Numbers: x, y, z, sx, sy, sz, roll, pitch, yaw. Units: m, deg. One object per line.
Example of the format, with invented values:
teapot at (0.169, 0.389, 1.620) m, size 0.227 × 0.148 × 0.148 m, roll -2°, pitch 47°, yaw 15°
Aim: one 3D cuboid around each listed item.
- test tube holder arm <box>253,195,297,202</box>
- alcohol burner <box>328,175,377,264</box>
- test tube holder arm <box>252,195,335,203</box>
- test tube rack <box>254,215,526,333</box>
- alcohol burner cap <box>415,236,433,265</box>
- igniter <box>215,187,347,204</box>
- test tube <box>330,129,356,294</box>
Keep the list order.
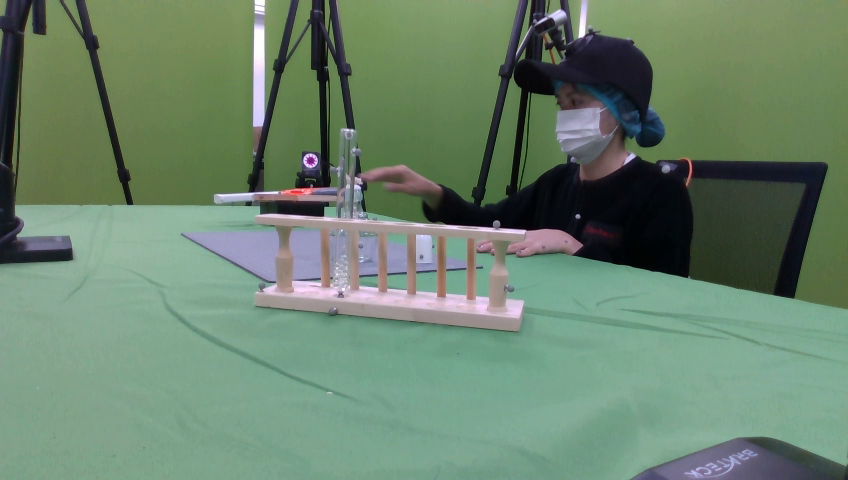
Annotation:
test tube holder arm at (-0.294, -0.082, 1.194) m, size 0.088 × 0.015 × 0.010 m, roll -4°, pitch 7°, yaw -38°
alcohol burner at (-0.098, -0.028, 0.819) m, size 0.078 × 0.119 × 0.078 m, roll 1°, pitch 8°, yaw 0°
test tube holder arm at (-0.262, -0.084, 1.227) m, size 0.179 × 0.015 × 0.013 m, roll -4°, pitch 7°, yaw -39°
test tube rack at (-0.030, 0.025, 0.557) m, size 0.242 × 0.085 × 0.067 m, roll 4°, pitch 7°, yaw 12°
alcohol burner cap at (-0.004, 0.011, 0.835) m, size 0.034 × 0.048 × 0.034 m, roll 2°, pitch 7°, yaw 0°
igniter at (-0.290, -0.093, 1.256) m, size 0.278 × 0.025 × 0.057 m, roll -6°, pitch 11°, yaw -34°
test tube at (-0.074, -0.025, 0.548) m, size 0.017 × 0.150 × 0.017 m, roll 4°, pitch 6°, yaw 0°
